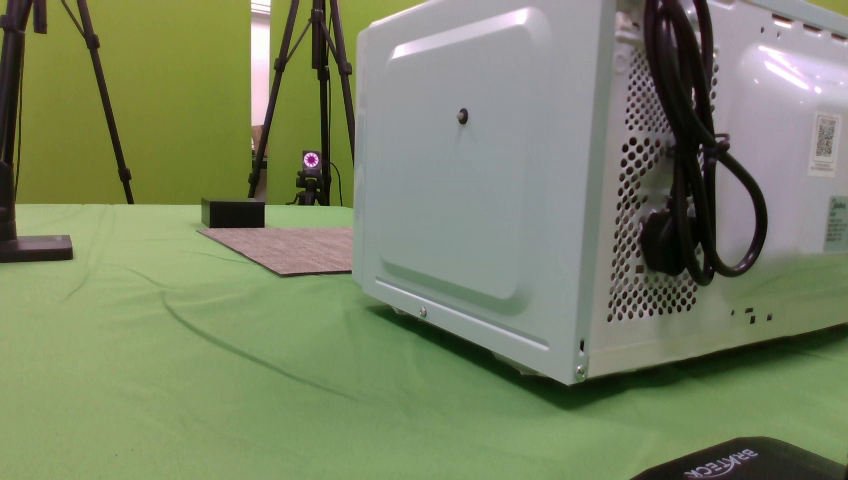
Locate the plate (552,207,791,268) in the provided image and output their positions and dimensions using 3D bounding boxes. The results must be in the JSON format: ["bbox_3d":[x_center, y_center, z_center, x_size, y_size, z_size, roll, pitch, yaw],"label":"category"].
[{"bbox_3d":[0.225,-0.005,0.572,0.209,0.038,0.209,4,7,0],"label":"plate"}]

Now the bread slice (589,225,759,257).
[{"bbox_3d":[0.226,0.000,0.568,0.132,0.019,0.104,2,6,-22],"label":"bread slice"}]

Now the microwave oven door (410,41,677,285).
[{"bbox_3d":[0.154,-0.080,0.692,0.358,0.243,0.039,-2,9,-29],"label":"microwave oven door"}]

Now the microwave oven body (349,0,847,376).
[{"bbox_3d":[0.199,-0.053,0.540,0.444,0.260,0.324,-1,7,-32],"label":"microwave oven body"}]

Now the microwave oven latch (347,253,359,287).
[{"bbox_3d":[-0.034,0.028,0.580,0.079,0.029,0.030,-1,7,-31],"label":"microwave oven latch"}]
